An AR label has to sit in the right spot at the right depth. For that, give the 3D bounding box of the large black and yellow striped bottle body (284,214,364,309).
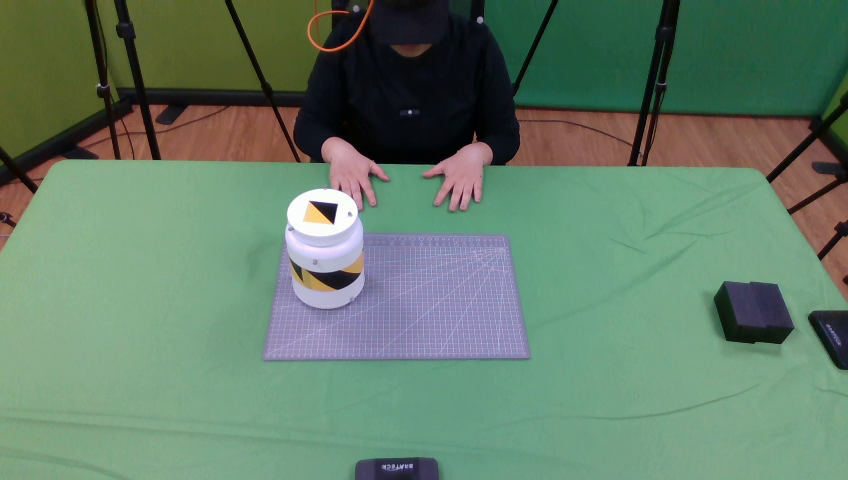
[{"bbox_3d":[-0.171,0.017,1.052,0.131,0.185,0.130,2,46,-2],"label":"large black and yellow striped bottle body"}]

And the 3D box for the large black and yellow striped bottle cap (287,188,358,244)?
[{"bbox_3d":[-0.166,-0.041,0.992,0.115,0.019,0.114,2,46,-1],"label":"large black and yellow striped bottle cap"}]
